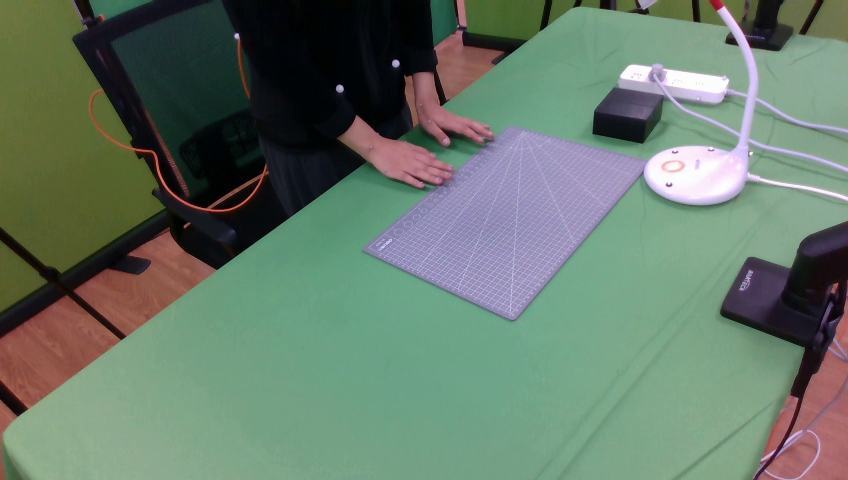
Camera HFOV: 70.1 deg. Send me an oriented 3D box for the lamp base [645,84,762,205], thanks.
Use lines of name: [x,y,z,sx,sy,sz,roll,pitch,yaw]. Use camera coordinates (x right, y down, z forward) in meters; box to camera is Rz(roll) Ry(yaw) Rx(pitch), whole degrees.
lamp base: [0.461,-0.170,0.975,0.179,0.181,0.160,2,41,11]

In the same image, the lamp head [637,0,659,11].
lamp head: [0.330,-0.391,0.827,0.122,0.113,0.112,-21,35,25]

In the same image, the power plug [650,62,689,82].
power plug: [0.504,-0.339,1.247,0.072,0.053,0.035,9,58,12]

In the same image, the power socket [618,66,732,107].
power socket: [0.517,-0.322,1.259,0.225,0.033,0.072,19,49,29]
